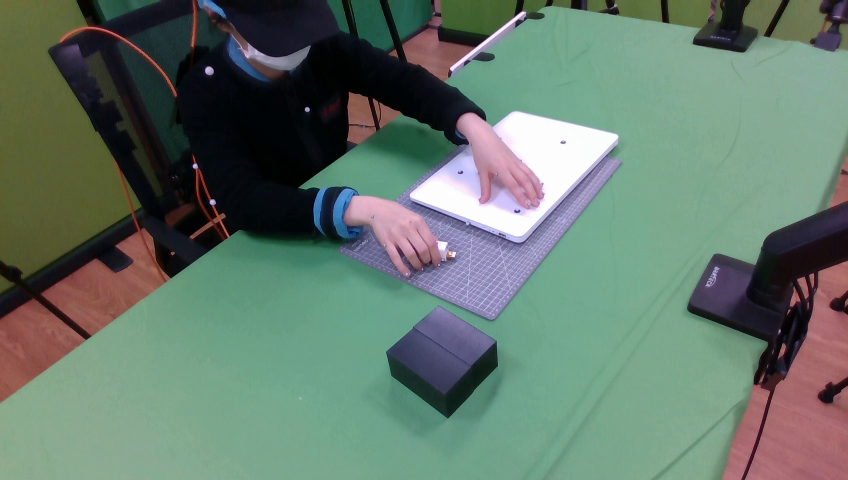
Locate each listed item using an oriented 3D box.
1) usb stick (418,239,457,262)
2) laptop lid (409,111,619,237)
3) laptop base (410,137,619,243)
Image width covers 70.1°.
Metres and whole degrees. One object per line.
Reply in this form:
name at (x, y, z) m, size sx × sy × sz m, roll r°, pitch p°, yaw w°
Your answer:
usb stick at (0.021, 0.017, 0.938) m, size 0.059 × 0.027 × 0.021 m, roll 9°, pitch 44°, yaw 13°
laptop lid at (0.167, -0.136, 1.089) m, size 0.239 × 0.013 × 0.358 m, roll 24°, pitch 48°, yaw 34°
laptop base at (0.171, -0.127, 1.096) m, size 0.233 × 0.023 × 0.355 m, roll 21°, pitch 47°, yaw 33°
